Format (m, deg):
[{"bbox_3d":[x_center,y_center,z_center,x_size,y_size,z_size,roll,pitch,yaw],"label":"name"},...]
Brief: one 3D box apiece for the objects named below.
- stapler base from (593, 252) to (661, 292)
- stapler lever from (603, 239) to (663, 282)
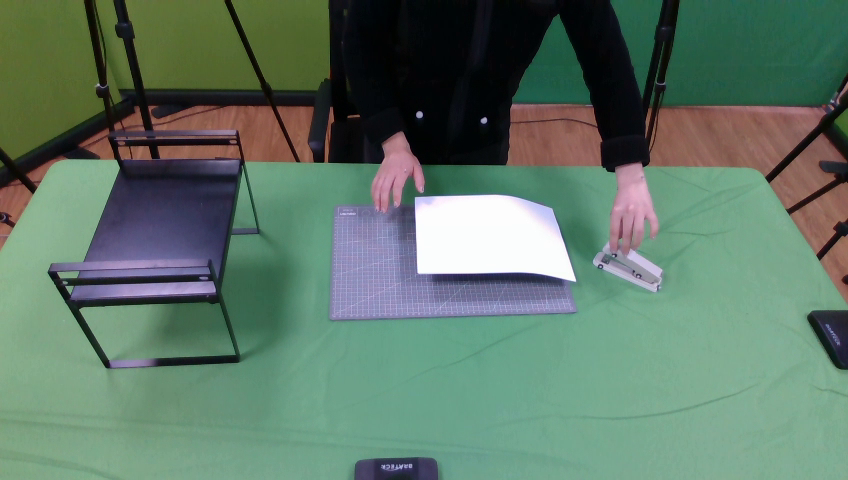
[{"bbox_3d":[0.395,0.054,1.174,0.130,0.024,0.041,26,52,18],"label":"stapler base"},{"bbox_3d":[0.398,0.037,1.156,0.117,0.040,0.027,26,52,18],"label":"stapler lever"}]
